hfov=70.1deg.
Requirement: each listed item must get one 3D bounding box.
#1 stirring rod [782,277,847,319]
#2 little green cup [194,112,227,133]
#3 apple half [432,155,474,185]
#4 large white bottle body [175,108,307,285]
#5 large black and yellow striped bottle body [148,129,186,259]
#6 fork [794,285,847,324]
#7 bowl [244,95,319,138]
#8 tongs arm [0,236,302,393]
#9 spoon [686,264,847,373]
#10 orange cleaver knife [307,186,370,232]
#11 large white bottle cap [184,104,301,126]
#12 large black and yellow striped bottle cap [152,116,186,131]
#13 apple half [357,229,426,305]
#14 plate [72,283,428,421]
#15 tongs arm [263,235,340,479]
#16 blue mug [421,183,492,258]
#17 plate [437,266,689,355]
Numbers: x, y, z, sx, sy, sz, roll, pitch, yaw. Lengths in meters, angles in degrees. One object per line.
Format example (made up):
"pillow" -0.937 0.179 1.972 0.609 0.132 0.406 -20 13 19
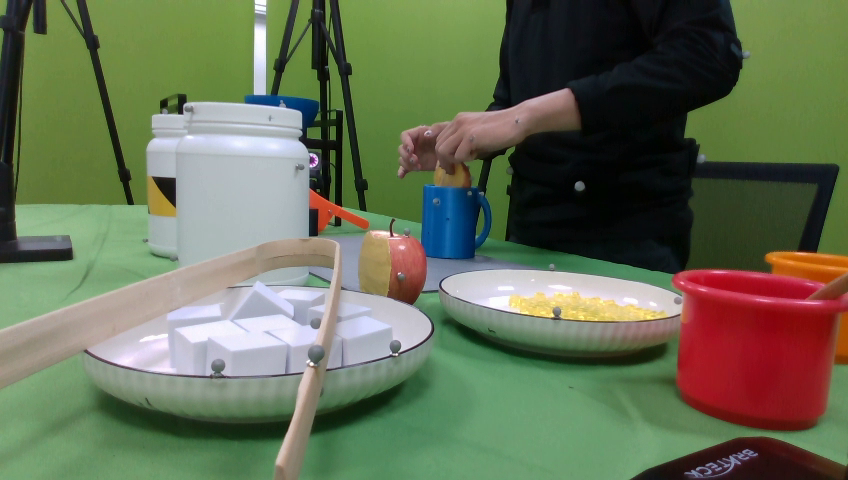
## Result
"stirring rod" 0.344 0.019 0.461 0.014 0.006 0.176 -13 -27 -30
"little green cup" -0.412 -0.228 1.171 0.061 0.038 0.061 2 8 0
"apple half" 0.048 -0.095 0.900 0.033 0.081 0.081 -21 20 -33
"large white bottle body" -0.188 -0.042 0.630 0.131 0.184 0.130 2 8 0
"large black and yellow striped bottle body" -0.310 -0.073 0.838 0.131 0.184 0.130 2 8 0
"fork" 0.332 0.018 0.443 0.028 0.018 0.207 -1 -36 -15
"bowl" -0.293 -0.251 1.249 0.151 0.077 0.151 2 8 0
"tongs arm" -0.158 0.038 0.351 0.028 0.028 0.388 -3 8 11
"spoon" 0.215 0.032 0.328 0.042 0.021 0.193 -3 -35 -26
"orange cleaver knife" -0.197 -0.056 1.141 0.212 0.077 0.012 29 0 -34
"large white bottle cap" -0.184 -0.126 0.618 0.115 0.018 0.115 2 8 0
"large black and yellow striped bottle cap" -0.309 -0.155 0.826 0.115 0.019 0.115 3 6 0
"apple half" -0.026 0.028 0.570 0.053 0.074 0.080 3 2 -28
"plate" -0.102 0.066 0.381 0.208 0.039 0.207 2 7 0
"tongs arm" -0.074 0.039 0.349 0.051 0.026 0.384 -2 9 -3
"blue mug" 0.052 -0.032 0.911 0.117 0.106 0.082 -1 8 -26
"plate" 0.114 0.057 0.517 0.209 0.038 0.209 3 8 0
